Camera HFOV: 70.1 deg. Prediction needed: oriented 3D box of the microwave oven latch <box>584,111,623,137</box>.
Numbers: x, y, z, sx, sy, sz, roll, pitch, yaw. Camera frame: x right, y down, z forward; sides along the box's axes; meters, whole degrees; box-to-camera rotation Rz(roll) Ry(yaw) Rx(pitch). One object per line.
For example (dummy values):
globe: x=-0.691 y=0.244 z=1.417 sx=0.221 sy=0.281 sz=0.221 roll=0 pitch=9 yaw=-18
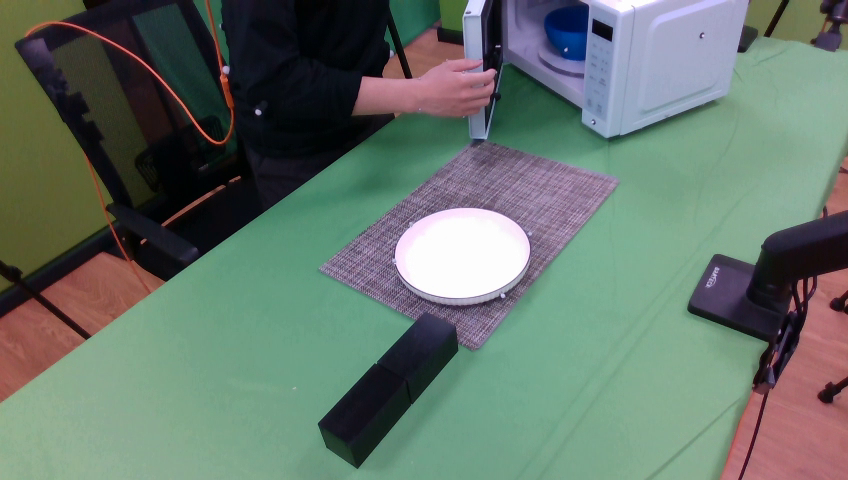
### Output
microwave oven latch: x=0.337 y=-0.222 z=1.142 sx=0.030 sy=0.029 sz=0.078 roll=-21 pitch=42 yaw=-14

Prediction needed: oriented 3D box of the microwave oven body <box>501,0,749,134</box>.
microwave oven body: x=0.382 y=-0.444 z=1.246 sx=0.327 sy=0.261 sz=0.437 roll=-22 pitch=42 yaw=-16

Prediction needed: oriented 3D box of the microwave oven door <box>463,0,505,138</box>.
microwave oven door: x=0.127 y=-0.403 z=1.226 sx=0.039 sy=0.245 sz=0.355 roll=2 pitch=42 yaw=13

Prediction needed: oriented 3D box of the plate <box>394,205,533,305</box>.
plate: x=0.059 y=0.025 z=0.915 sx=0.207 sy=0.039 sz=0.206 roll=-4 pitch=41 yaw=4
